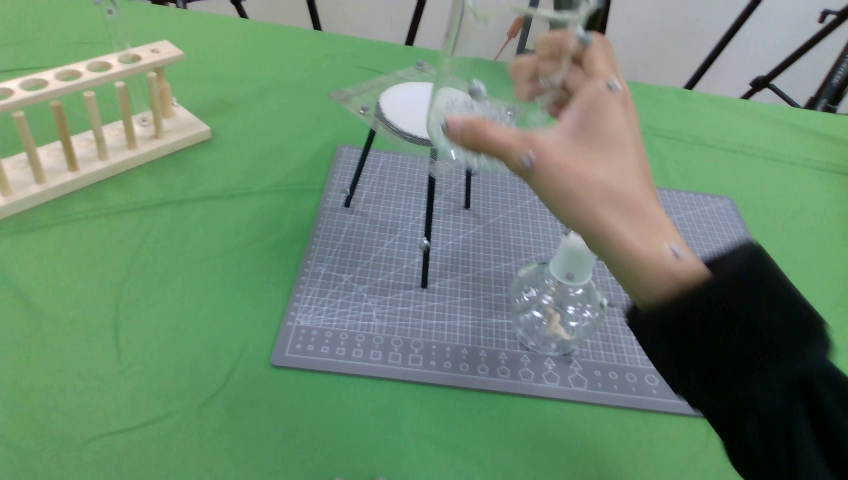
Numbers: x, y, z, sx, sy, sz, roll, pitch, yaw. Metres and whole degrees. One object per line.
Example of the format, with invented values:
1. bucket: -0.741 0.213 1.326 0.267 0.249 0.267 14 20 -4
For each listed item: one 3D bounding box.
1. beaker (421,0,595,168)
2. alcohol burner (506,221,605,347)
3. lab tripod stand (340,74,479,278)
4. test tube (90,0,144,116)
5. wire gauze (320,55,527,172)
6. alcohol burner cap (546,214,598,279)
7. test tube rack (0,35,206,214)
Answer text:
1. beaker: 0.039 -0.097 0.338 0.073 0.101 0.084 35 47 18
2. alcohol burner: 0.107 0.028 0.471 0.078 0.120 0.077 6 43 -6
3. lab tripod stand: -0.005 -0.062 0.531 0.149 0.132 0.147 7 44 -6
4. test tube: -0.293 -0.183 0.573 0.017 0.151 0.017 2 45 -2
5. wire gauze: 0.001 -0.111 0.484 0.124 0.011 0.121 36 50 24
6. alcohol burner cap: 0.111 0.003 0.445 0.034 0.048 0.033 3 48 -3
7. test tube rack: -0.330 -0.107 0.557 0.066 0.086 0.242 36 49 25
